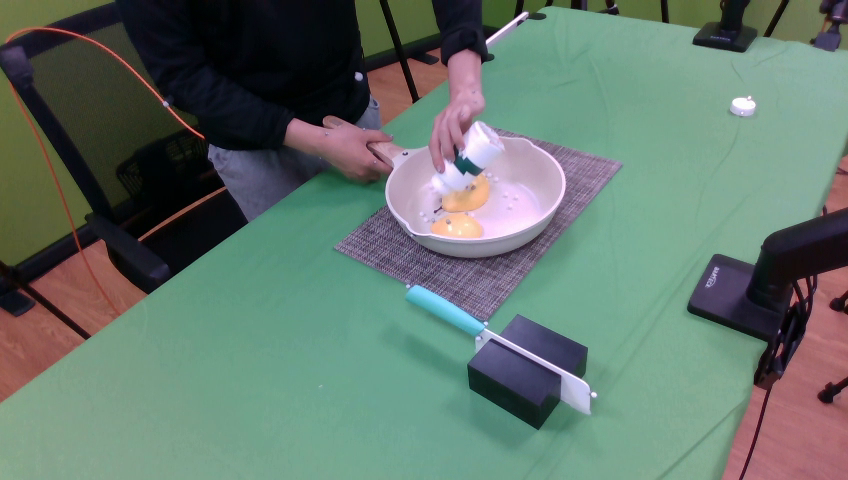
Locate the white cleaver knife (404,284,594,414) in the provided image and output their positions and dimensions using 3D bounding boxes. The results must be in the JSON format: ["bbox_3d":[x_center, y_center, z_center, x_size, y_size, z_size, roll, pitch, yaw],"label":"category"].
[{"bbox_3d":[0.084,0.135,0.764,0.284,0.066,0.021,28,47,31],"label":"white cleaver knife"}]

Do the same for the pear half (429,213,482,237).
[{"bbox_3d":[0.050,-0.024,0.973,0.087,0.031,0.070,15,41,17],"label":"pear half"}]

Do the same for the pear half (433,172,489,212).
[{"bbox_3d":[0.057,-0.083,1.024,0.110,0.056,0.075,-34,42,-25],"label":"pear half"}]

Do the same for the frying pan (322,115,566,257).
[{"bbox_3d":[0.004,-0.121,1.039,0.484,0.103,0.308,31,52,25],"label":"frying pan"}]

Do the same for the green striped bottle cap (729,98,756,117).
[{"bbox_3d":[0.623,-0.259,1.182,0.044,0.020,0.044,-3,41,3],"label":"green striped bottle cap"}]

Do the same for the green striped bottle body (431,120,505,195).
[{"bbox_3d":[0.063,-0.123,0.937,0.119,0.063,0.063,-44,33,25],"label":"green striped bottle body"}]
